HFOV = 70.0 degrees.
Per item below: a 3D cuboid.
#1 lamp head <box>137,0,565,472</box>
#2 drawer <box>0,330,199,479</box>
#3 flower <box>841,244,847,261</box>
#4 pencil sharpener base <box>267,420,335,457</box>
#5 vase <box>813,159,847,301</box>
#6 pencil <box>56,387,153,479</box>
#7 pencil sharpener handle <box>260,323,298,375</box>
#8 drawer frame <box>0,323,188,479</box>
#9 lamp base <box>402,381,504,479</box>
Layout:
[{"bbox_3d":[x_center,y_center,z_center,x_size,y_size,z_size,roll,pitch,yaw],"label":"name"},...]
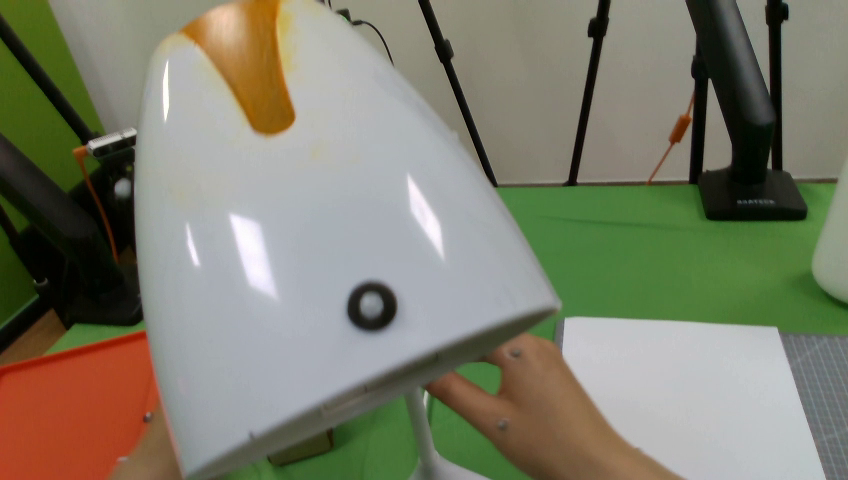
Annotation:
[{"bbox_3d":[-0.033,-0.007,0.189,0.112,0.113,0.122,-20,70,-16],"label":"lamp head"},{"bbox_3d":[-0.326,0.191,0.569,0.195,0.074,0.209,-14,31,-7],"label":"drawer"},{"bbox_3d":[0.432,-0.090,0.541,0.038,0.365,0.043,-35,52,-13],"label":"flower"},{"bbox_3d":[-0.128,0.138,0.573,0.061,0.108,0.076,-14,32,-7],"label":"pencil sharpener base"},{"bbox_3d":[0.455,-0.033,0.600,0.098,0.202,0.097,-8,31,5],"label":"vase"},{"bbox_3d":[-0.318,0.208,0.544,0.012,0.012,0.193,16,52,34],"label":"pencil"},{"bbox_3d":[-0.143,0.103,0.608,0.036,0.068,0.030,-10,32,-10],"label":"pencil sharpener handle"},{"bbox_3d":[-0.328,0.188,0.570,0.202,0.083,0.211,-15,32,-7],"label":"drawer frame"},{"bbox_3d":[0.008,0.173,0.410,0.161,0.182,0.177,-18,30,-9],"label":"lamp base"}]
